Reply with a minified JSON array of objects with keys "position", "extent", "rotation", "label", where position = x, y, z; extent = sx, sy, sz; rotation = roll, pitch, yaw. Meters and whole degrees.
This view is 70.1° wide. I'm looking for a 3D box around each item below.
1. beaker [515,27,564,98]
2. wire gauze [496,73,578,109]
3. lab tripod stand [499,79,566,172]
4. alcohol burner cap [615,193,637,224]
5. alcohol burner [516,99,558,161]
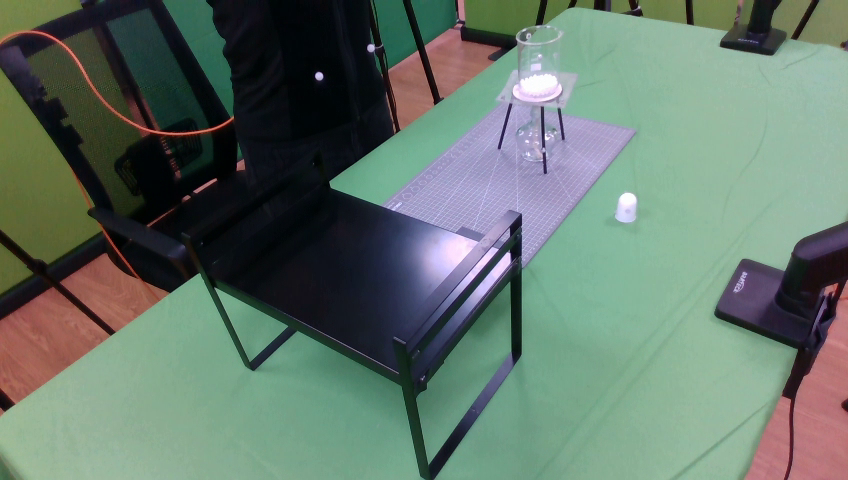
[{"position":[0.198,-0.302,1.033],"extent":[0.084,0.101,0.073],"rotation":[-14,40,-5],"label":"beaker"},{"position":[0.200,-0.266,1.066],"extent":[0.124,0.011,0.121],"rotation":[8,41,23],"label":"wire gauze"},{"position":[0.204,-0.215,1.107],"extent":[0.148,0.132,0.147],"rotation":[-6,41,5],"label":"lab tripod stand"},{"position":[0.327,-0.054,0.974],"extent":[0.034,0.048,0.033],"rotation":[-4,38,4],"label":"alcohol burner cap"},{"position":[0.208,-0.206,1.110],"extent":[0.078,0.119,0.077],"rotation":[-3,41,3],"label":"alcohol burner"}]
